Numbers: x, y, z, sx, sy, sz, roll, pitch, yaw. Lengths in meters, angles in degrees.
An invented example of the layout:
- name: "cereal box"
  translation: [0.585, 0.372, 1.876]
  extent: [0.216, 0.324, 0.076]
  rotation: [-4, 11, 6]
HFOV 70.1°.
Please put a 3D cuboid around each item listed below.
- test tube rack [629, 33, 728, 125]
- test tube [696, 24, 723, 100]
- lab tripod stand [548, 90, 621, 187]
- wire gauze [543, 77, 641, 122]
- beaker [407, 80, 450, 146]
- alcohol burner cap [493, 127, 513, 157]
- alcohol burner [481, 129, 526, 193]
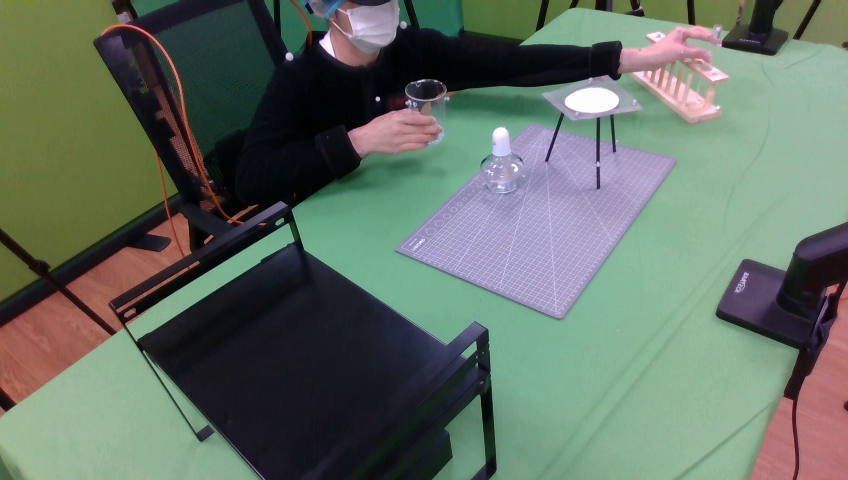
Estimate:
- name: "test tube rack"
  translation: [0.516, -0.337, 1.248]
  extent: [0.067, 0.085, 0.240]
  rotation: [-14, 41, -6]
- name: "test tube"
  translation: [0.547, -0.338, 1.161]
  extent: [0.017, 0.151, 0.017]
  rotation: [-2, 39, 2]
- name: "lab tripod stand"
  translation: [0.289, -0.184, 1.062]
  extent: [0.148, 0.132, 0.147]
  rotation: [-6, 41, 6]
- name: "wire gauze"
  translation: [0.282, -0.236, 1.020]
  extent: [0.125, 0.011, 0.120]
  rotation: [-15, 40, -6]
- name: "beaker"
  translation: [0.006, -0.232, 1.110]
  extent: [0.074, 0.100, 0.083]
  rotation: [-19, 46, -18]
- name: "alcohol burner cap"
  translation: [0.132, -0.169, 1.030]
  extent: [0.034, 0.048, 0.033]
  rotation: [-7, 35, 5]
- name: "alcohol burner"
  translation: [0.138, -0.142, 1.052]
  extent: [0.078, 0.119, 0.077]
  rotation: [-5, 42, 5]
